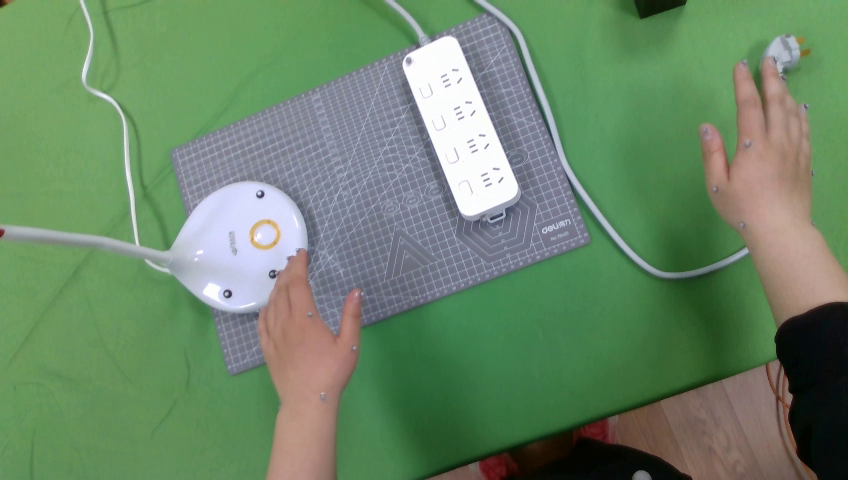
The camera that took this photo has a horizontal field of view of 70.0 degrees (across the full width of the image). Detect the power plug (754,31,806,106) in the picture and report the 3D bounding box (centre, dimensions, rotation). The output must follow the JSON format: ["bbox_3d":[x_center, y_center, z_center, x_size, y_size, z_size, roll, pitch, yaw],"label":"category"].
[{"bbox_3d":[0.374,-0.180,0.632,0.053,0.035,0.073,-17,100,-2],"label":"power plug"}]

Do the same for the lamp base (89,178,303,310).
[{"bbox_3d":[-0.248,-0.001,0.655,0.179,0.181,0.160,-27,77,10],"label":"lamp base"}]

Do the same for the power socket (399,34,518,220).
[{"bbox_3d":[0.038,-0.130,0.688,0.072,0.033,0.225,-22,78,7],"label":"power socket"}]
